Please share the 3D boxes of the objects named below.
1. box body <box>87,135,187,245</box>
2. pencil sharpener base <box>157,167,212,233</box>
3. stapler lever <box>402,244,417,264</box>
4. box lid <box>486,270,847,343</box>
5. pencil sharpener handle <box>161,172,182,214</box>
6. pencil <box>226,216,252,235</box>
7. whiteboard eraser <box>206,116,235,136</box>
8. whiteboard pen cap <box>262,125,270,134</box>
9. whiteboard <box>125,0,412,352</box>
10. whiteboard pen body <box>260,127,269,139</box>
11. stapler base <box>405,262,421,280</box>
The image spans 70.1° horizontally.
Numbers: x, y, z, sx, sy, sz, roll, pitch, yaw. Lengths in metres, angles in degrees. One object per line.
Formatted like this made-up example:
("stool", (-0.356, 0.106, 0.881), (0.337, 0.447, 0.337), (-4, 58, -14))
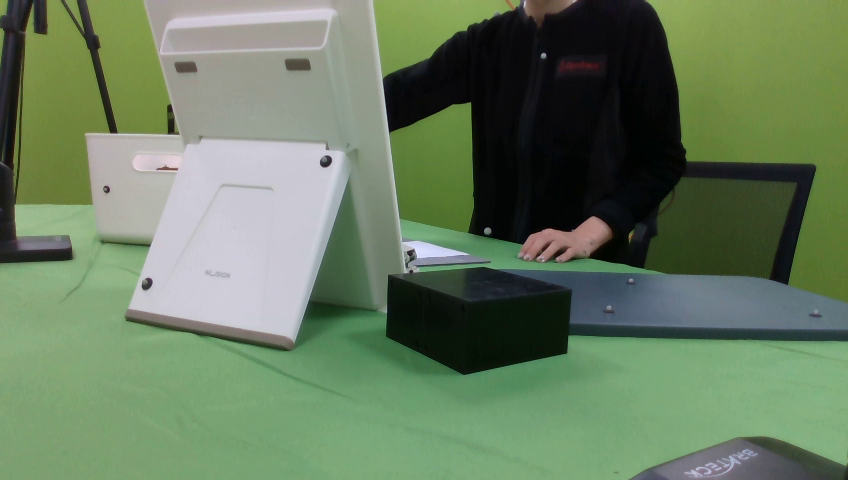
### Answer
("box body", (-0.338, -0.088, 1.022), (0.254, 0.160, 0.364), (3, 7, 9))
("pencil sharpener base", (-0.406, -0.069, 1.025), (0.061, 0.107, 0.077), (2, 8, 9))
("stapler lever", (-0.066, 0.003, 0.754), (0.117, 0.040, 0.027), (9, 14, 23))
("box lid", (0.267, 0.066, 0.643), (0.372, 0.015, 0.263), (2, 7, -5))
("pencil sharpener handle", (-0.410, -0.075, 0.973), (0.036, 0.067, 0.031), (-11, 5, 11))
("pencil", (-0.334, -0.026, 1.092), (0.012, 0.012, 0.193), (2, 10, -5))
("whiteboard eraser", (-0.450, -0.252, 1.335), (0.056, 0.042, 0.112), (1, 7, -22))
("whiteboard pen cap", (-0.349, -0.244, 1.337), (0.018, 0.018, 0.033), (0, 2, -17))
("whiteboard", (-0.151, -0.049, 0.472), (0.216, 0.305, 0.144), (6, 27, 24))
("whiteboard pen body", (-0.366, -0.247, 1.392), (0.017, 0.017, 0.140), (0, 3, -17))
("stapler base", (-0.069, 0.027, 0.759), (0.130, 0.024, 0.041), (9, 14, 23))
